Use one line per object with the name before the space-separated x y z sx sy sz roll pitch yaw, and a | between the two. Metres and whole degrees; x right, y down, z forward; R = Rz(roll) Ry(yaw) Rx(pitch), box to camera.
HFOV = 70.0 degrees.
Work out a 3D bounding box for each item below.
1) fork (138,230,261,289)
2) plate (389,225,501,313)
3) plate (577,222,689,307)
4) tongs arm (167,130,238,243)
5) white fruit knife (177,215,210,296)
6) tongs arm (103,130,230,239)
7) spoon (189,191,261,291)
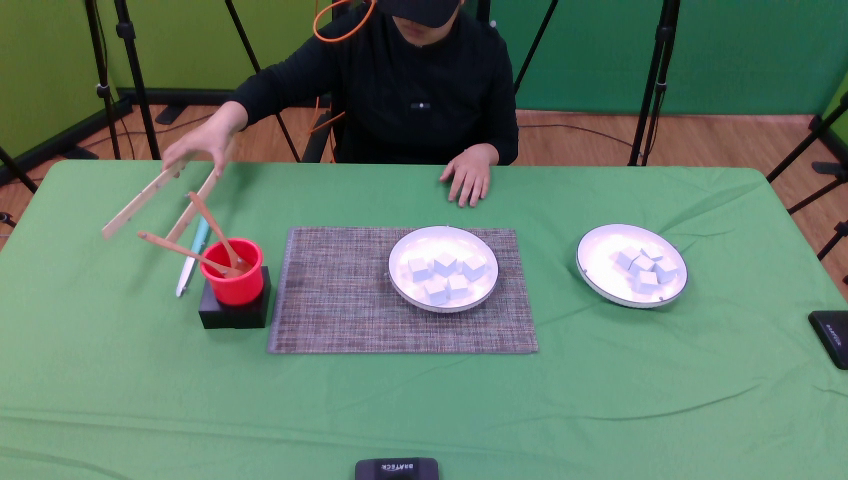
fork | -0.360 0.032 0.981 0.208 0.018 0.028 31 60 -30
plate | 0.038 0.057 1.129 0.208 0.039 0.206 2 46 -2
plate | 0.396 0.050 1.165 0.209 0.038 0.208 2 47 -2
tongs arm | -0.427 -0.113 1.187 0.028 0.028 0.385 0 38 4
white fruit knife | -0.435 0.025 1.148 0.027 0.016 0.206 -17 45 18
tongs arm | -0.491 -0.121 1.193 0.051 0.026 0.383 8 38 9
spoon | -0.333 0.001 1.012 0.041 0.194 0.021 -34 15 -25
